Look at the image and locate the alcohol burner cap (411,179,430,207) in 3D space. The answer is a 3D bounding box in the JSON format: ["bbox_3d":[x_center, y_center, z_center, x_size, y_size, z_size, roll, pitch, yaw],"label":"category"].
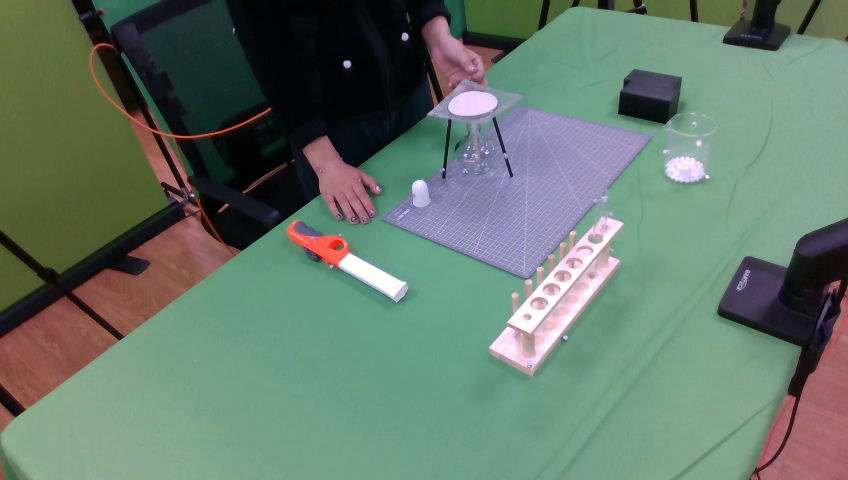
[{"bbox_3d":[-0.008,-0.085,1.063,0.034,0.048,0.033,-4,40,4],"label":"alcohol burner cap"}]

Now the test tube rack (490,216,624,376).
[{"bbox_3d":[0.184,0.064,0.822,0.066,0.085,0.243,24,50,33],"label":"test tube rack"}]

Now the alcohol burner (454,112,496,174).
[{"bbox_3d":[0.092,-0.181,1.102,0.078,0.119,0.077,-5,42,5],"label":"alcohol burner"}]

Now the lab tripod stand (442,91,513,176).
[{"bbox_3d":[0.096,-0.190,1.096,0.148,0.132,0.147,-4,40,4],"label":"lab tripod stand"}]

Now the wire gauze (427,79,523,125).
[{"bbox_3d":[0.088,-0.239,1.050,0.120,0.011,0.125,22,50,30],"label":"wire gauze"}]

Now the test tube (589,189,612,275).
[{"bbox_3d":[0.238,-0.007,0.818,0.017,0.151,0.017,-3,43,4],"label":"test tube"}]

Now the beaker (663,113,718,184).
[{"bbox_3d":[0.442,-0.151,1.018,0.084,0.101,0.074,-1,40,11],"label":"beaker"}]

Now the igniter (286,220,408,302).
[{"bbox_3d":[-0.134,0.028,0.969,0.274,0.025,0.057,26,61,35],"label":"igniter"}]
